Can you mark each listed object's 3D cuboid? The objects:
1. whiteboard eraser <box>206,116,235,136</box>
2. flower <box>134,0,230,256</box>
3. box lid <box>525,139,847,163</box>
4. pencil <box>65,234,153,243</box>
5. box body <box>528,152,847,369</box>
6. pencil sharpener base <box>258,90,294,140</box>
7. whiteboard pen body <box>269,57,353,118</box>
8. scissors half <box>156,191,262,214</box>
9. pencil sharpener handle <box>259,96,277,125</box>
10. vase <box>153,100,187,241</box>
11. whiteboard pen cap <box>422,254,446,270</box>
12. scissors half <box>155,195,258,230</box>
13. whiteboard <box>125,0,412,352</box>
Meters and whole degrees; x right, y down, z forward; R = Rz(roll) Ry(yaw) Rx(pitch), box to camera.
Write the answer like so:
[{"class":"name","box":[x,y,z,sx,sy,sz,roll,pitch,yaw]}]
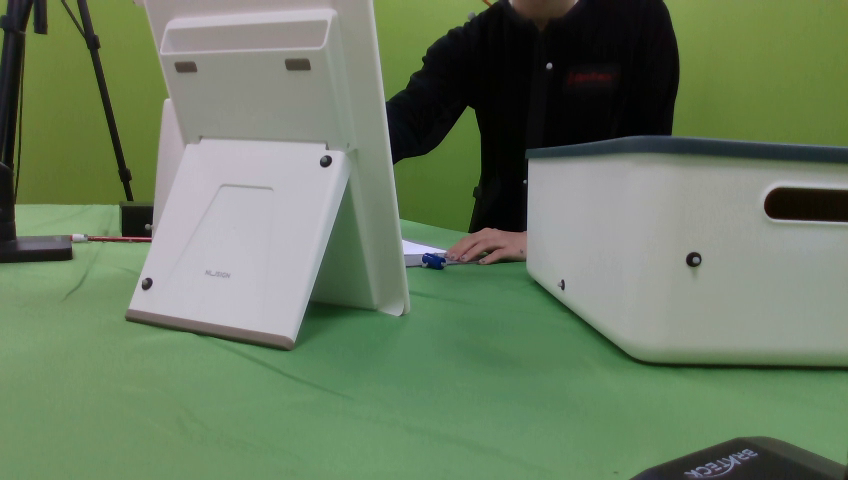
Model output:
[{"class":"whiteboard eraser","box":[-0.449,-0.251,1.335,0.056,0.042,0.112,1,7,-22]},{"class":"flower","box":[-0.282,-0.146,0.713,0.038,0.362,0.044,-23,23,-31]},{"class":"box lid","box":[0.261,-0.078,0.580,0.264,0.015,0.371,2,7,-4]},{"class":"pencil","box":[-0.429,0.000,0.910,0.195,0.012,0.012,2,7,-19]},{"class":"box body","box":[0.258,-0.005,0.591,0.254,0.160,0.363,2,7,-4]},{"class":"pencil sharpener base","box":[-0.341,-0.285,1.388,0.062,0.107,0.076,-3,9,-36]},{"class":"whiteboard pen body","box":[-0.107,-0.147,0.582,0.017,0.017,0.141,6,37,25]},{"class":"scissors half","box":[-0.371,-0.068,1.051,0.176,0.040,0.013,2,25,-24]},{"class":"pencil sharpener handle","box":[-0.373,-0.304,1.425,0.036,0.067,0.030,13,-1,-37]},{"class":"vase","box":[-0.278,-0.066,0.736,0.098,0.200,0.098,2,9,0]},{"class":"whiteboard pen cap","box":[0.013,0.028,0.806,0.018,0.018,0.033,-4,14,-42]},{"class":"scissors half","box":[-0.378,-0.051,1.058,0.176,0.040,0.012,20,22,-31]},{"class":"whiteboard","box":[-0.151,-0.049,0.472,0.216,0.305,0.144,6,27,24]}]
